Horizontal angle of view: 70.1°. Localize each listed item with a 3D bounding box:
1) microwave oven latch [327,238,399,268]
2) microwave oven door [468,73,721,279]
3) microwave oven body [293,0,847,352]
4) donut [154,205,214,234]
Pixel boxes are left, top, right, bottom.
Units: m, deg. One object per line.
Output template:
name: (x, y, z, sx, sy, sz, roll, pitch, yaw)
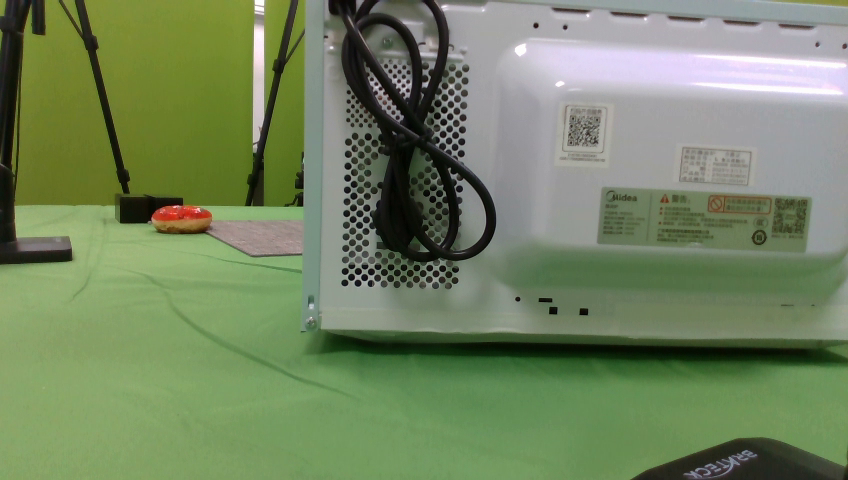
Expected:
microwave oven latch: (-0.069, 0.015, 0.694, 0.079, 0.029, 0.030, 3, 7, -3)
microwave oven door: (0.208, -0.092, 0.830, 0.039, 0.243, 0.354, -4, 10, -44)
microwave oven body: (0.122, -0.055, 0.550, 0.442, 0.260, 0.325, 3, 7, -5)
donut: (-0.426, -0.037, 1.075, 0.099, 0.048, 0.099, 2, 12, 0)
